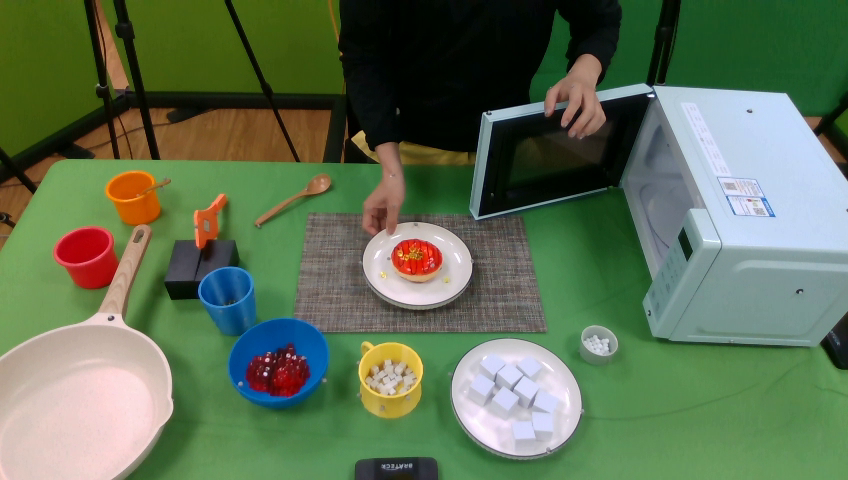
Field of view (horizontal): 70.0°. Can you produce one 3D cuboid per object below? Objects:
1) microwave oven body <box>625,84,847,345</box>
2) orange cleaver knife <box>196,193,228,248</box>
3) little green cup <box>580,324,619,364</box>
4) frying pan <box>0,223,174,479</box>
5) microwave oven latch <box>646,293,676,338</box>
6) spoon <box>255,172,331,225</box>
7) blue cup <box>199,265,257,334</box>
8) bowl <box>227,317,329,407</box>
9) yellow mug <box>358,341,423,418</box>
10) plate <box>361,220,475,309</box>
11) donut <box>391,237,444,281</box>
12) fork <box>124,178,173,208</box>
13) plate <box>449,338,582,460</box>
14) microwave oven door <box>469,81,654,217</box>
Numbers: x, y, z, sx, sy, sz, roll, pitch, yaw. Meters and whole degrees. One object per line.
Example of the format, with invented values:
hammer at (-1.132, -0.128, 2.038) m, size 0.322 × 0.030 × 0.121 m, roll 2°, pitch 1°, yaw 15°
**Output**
microwave oven body at (0.568, -0.054, 1.116) m, size 0.326 × 0.261 × 0.439 m, roll 2°, pitch 46°, yaw -1°
orange cleaver knife at (-0.406, -0.041, 1.163) m, size 0.012 × 0.077 × 0.210 m, roll 0°, pitch 18°, yaw -3°
little green cup at (0.296, 0.179, 1.031) m, size 0.061 × 0.039 × 0.061 m, roll 2°, pitch 45°, yaw -2°
frying pan at (-0.504, 0.169, 0.941) m, size 0.307 × 0.103 × 0.485 m, roll 5°, pitch 54°, yaw -1°
microwave oven latch at (0.412, 0.133, 1.060) m, size 0.030 × 0.029 × 0.078 m, roll 3°, pitch 46°, yaw 0°
spoon at (-0.272, -0.087, 1.256) m, size 0.041 × 0.022 × 0.193 m, roll 43°, pitch 57°, yaw 17°
blue cup at (-0.320, 0.106, 1.014) m, size 0.093 × 0.101 × 0.092 m, roll 2°, pitch 48°, yaw -2°
bowl at (-0.222, 0.203, 0.947) m, size 0.151 × 0.077 × 0.150 m, roll 2°, pitch 46°, yaw -2°
yellow mug at (-0.062, 0.210, 0.961) m, size 0.100 × 0.064 × 0.130 m, roll -29°, pitch 54°, yaw -27°
plate at (-0.011, 0.048, 1.128) m, size 0.209 × 0.038 × 0.208 m, roll 3°, pitch 48°, yaw -3°
donut at (-0.012, 0.034, 1.125) m, size 0.099 × 0.048 × 0.098 m, roll 4°, pitch 45°, yaw -4°
fork at (-0.525, -0.090, 1.154) m, size 0.207 × 0.019 × 0.028 m, roll -17°, pitch 27°, yaw 45°
plate at (0.141, 0.251, 0.955) m, size 0.208 × 0.039 × 0.206 m, roll 2°, pitch 47°, yaw -2°
microwave oven door at (0.270, -0.180, 1.207) m, size 0.356 × 0.245 × 0.039 m, roll -14°, pitch 49°, yaw -16°
